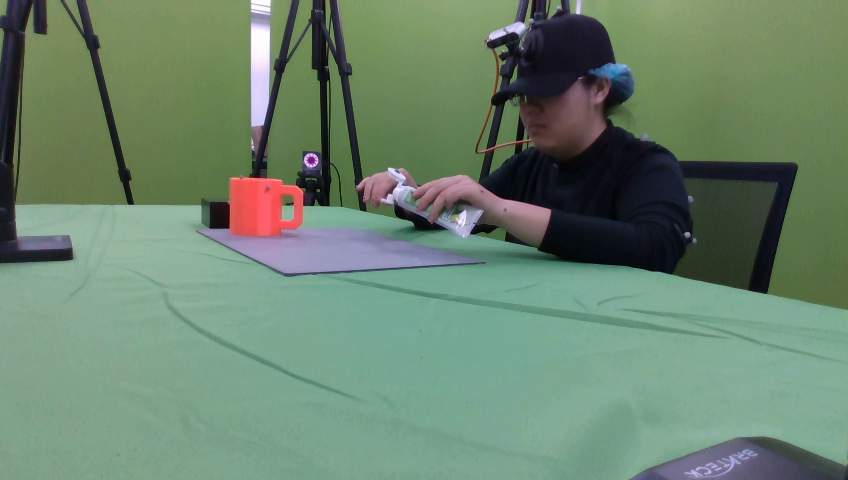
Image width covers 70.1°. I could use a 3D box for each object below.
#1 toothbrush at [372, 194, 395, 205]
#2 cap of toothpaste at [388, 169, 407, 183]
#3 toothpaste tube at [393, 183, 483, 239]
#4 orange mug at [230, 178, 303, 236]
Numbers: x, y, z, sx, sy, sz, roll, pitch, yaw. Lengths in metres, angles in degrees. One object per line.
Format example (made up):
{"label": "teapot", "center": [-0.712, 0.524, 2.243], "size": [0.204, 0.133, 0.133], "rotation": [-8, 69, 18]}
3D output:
{"label": "toothbrush", "center": [-0.074, -0.074, 1.074], "size": [0.014, 0.016, 0.181], "rotation": [3, 4, -14]}
{"label": "cap of toothpaste", "center": [-0.045, -0.104, 0.992], "size": [0.037, 0.011, 0.037], "rotation": [28, 20, -11]}
{"label": "toothpaste tube", "center": [0.015, -0.053, 0.948], "size": [0.164, 0.055, 0.035], "rotation": [26, -9, 33]}
{"label": "orange mug", "center": [-0.275, -0.060, 1.058], "size": [0.126, 0.101, 0.083], "rotation": [-2, 8, -5]}
